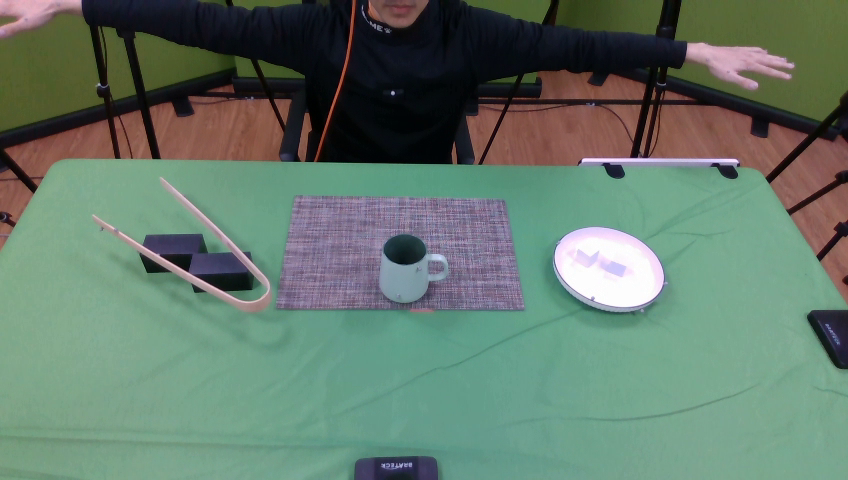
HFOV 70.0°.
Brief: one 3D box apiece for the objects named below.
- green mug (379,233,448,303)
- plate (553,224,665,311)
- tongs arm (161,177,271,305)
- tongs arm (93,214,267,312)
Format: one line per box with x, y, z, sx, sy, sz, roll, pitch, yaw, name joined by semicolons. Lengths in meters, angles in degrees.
-0.019;0.050;1.084;0.125;0.105;0.092;-1;46;-4;green mug
0.349;0.055;1.159;0.209;0.038;0.208;2;47;-2;plate
-0.386;-0.010;1.108;0.028;0.028;0.385;-29;54;-36;tongs arm
-0.434;0.031;1.063;0.383;0.026;0.050;28;48;21;tongs arm
